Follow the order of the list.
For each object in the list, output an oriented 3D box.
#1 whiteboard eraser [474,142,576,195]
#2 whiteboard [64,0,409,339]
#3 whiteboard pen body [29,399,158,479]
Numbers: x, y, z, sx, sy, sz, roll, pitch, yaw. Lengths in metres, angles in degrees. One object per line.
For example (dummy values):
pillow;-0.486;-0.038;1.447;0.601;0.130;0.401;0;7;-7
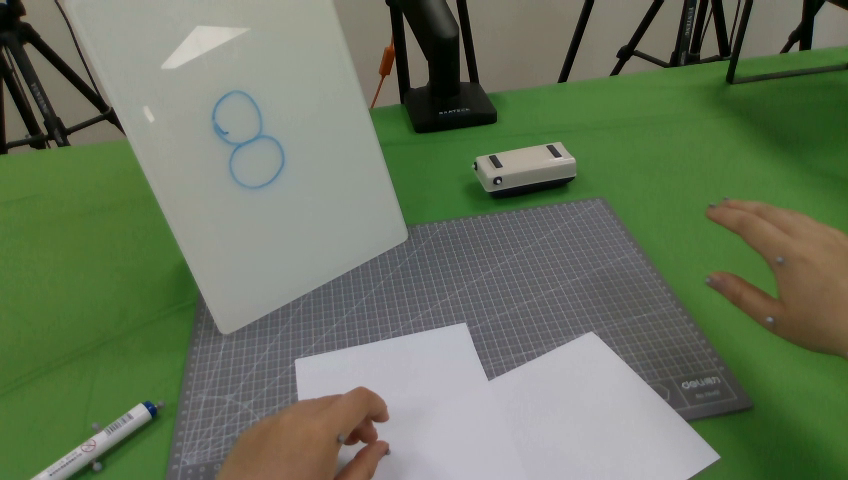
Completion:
whiteboard eraser;0.120;-0.083;0.721;0.113;0.042;0.055;-10;41;-9
whiteboard;-0.177;-0.101;0.603;0.217;0.307;0.142;-28;24;-27
whiteboard pen body;-0.264;0.167;0.450;0.017;0.017;0.140;26;46;32
